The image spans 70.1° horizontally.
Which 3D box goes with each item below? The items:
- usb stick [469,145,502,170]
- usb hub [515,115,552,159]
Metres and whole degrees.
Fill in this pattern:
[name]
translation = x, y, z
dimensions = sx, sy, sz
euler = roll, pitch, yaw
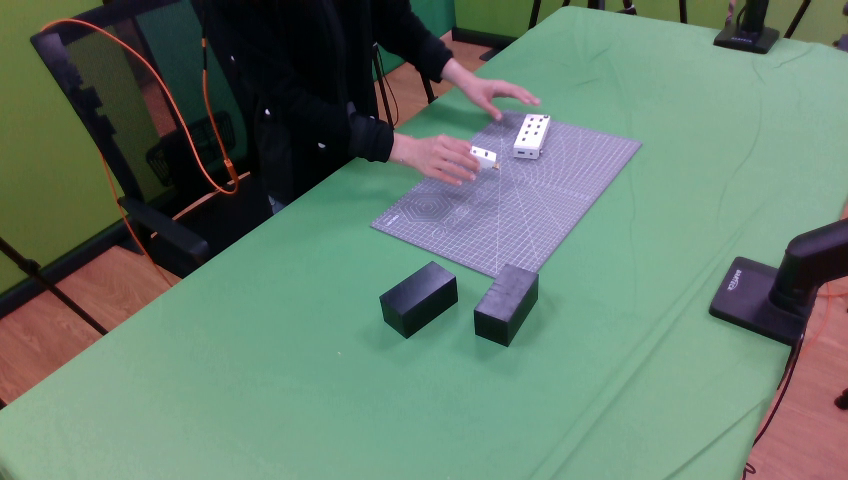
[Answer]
[usb stick]
translation = 0.108, -0.139, 1.034
dimensions = 0.059, 0.027, 0.021
euler = 19, 52, -12
[usb hub]
translation = 0.213, -0.201, 1.173
dimensions = 0.049, 0.025, 0.125
euler = 9, 44, 18
